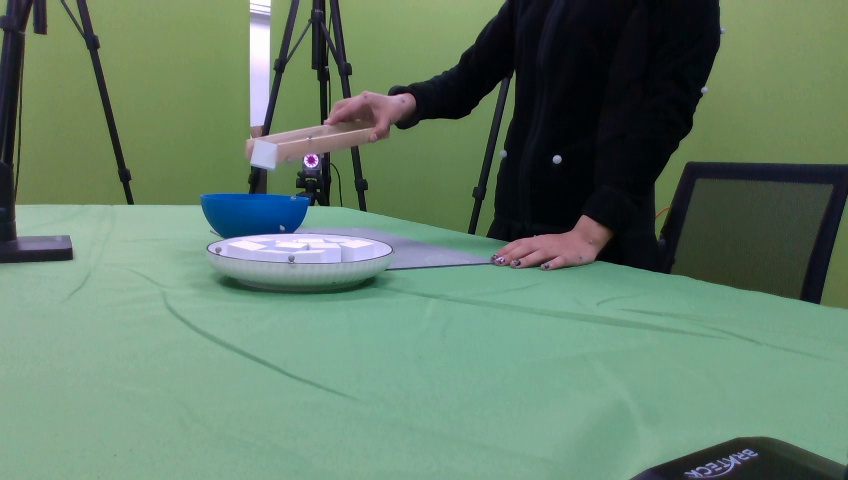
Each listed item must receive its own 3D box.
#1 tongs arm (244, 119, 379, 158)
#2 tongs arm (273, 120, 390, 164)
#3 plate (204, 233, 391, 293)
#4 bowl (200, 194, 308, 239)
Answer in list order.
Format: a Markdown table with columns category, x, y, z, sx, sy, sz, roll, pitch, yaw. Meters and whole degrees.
| category | x | y | z | sx | sy | sz | roll | pitch | yaw |
| --- | --- | --- | --- | --- | --- | --- | --- | --- | --- |
| tongs arm | -0.163 | -0.167 | 0.959 | 0.028 | 0.028 | 0.388 | 8 | 17 | 18 |
| tongs arm | -0.137 | -0.161 | 0.951 | 0.050 | 0.026 | 0.386 | 13 | 19 | 20 |
| plate | -0.143 | 0.025 | 0.697 | 0.208 | 0.039 | 0.207 | 3 | 9 | 0 |
| bowl | -0.245 | -0.025 | 0.879 | 0.151 | 0.077 | 0.151 | 2 | 7 | 0 |
